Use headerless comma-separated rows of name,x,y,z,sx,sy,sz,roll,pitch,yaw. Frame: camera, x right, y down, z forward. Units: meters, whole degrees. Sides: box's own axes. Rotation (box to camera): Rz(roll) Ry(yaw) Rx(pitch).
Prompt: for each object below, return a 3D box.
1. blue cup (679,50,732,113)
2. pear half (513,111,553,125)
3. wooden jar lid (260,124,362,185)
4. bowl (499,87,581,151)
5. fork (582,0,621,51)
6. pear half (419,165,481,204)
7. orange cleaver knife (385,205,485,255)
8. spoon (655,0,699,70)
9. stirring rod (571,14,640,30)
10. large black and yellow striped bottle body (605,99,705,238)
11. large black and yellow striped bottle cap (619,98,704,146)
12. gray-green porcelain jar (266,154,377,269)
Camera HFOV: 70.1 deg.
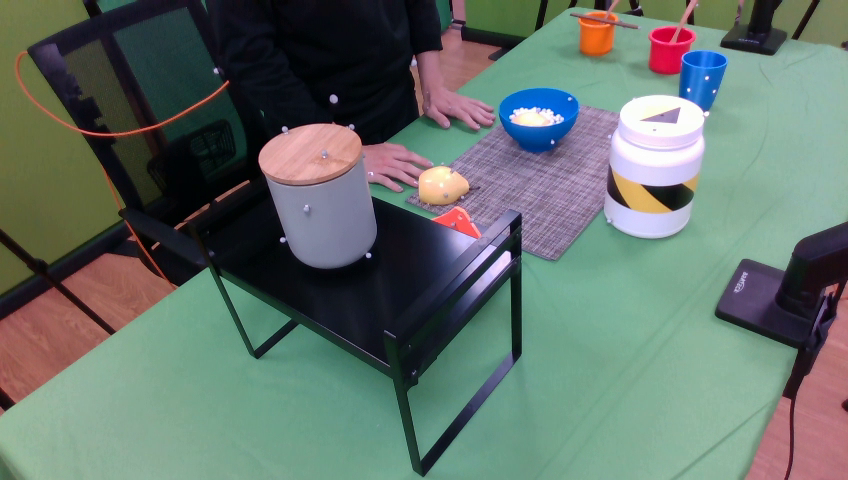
blue cup,0.545,-0.309,1.193,0.092,0.100,0.092,-4,39,3
pear half,0.212,-0.227,1.152,0.088,0.031,0.070,7,44,10
wooden jar lid,-0.119,-0.088,0.645,0.108,0.021,0.108,-4,40,3
bowl,0.220,-0.223,1.155,0.151,0.077,0.150,-4,40,4
fork,0.446,-0.538,1.438,0.207,0.019,0.028,-57,37,12
pear half,0.046,-0.103,1.067,0.110,0.056,0.076,-3,46,0
orange cleaver knife,0.012,-0.010,0.942,0.012,0.077,0.210,-36,19,-35
spoon,0.567,-0.463,1.337,0.041,0.022,0.193,30,97,38
stirring rod,0.419,-0.508,1.404,0.174,0.006,0.014,28,55,35
large black and yellow striped bottle body,0.352,-0.110,0.928,0.131,0.185,0.130,-5,41,5
large black and yellow striped bottle cap,0.341,-0.172,0.873,0.115,0.019,0.114,-4,39,4
gray-green porcelain jar,-0.112,-0.039,0.685,0.106,0.127,0.105,-4,40,4
